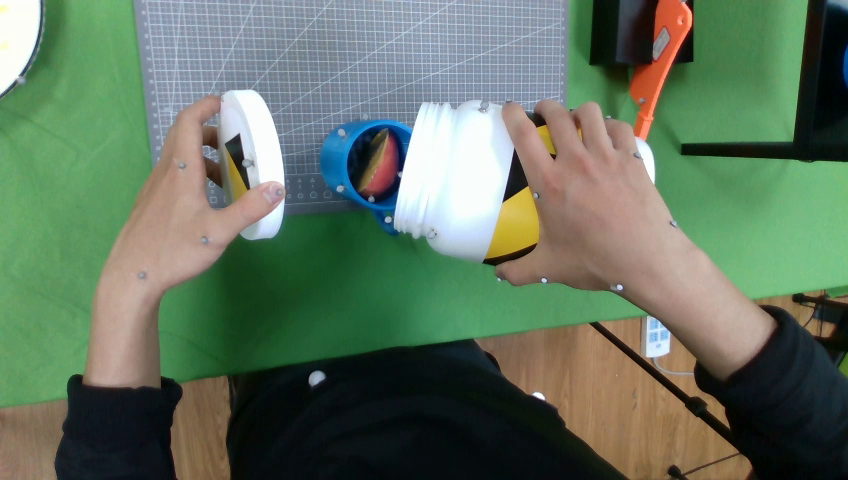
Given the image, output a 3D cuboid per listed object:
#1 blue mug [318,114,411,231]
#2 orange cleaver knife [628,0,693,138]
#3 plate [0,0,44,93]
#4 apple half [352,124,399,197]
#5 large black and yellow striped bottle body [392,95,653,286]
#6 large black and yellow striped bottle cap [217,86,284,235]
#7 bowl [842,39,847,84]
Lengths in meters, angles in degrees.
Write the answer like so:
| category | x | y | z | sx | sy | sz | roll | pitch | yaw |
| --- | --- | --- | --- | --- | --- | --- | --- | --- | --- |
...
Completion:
| category | x | y | z | sx | sy | sz | roll | pitch | yaw |
| --- | --- | --- | --- | --- | --- | --- | --- | --- | --- |
| blue mug | -0.048 | -0.064 | 0.594 | 0.082 | 0.105 | 0.117 | -21 | 107 | -16 |
| orange cleaver knife | 0.260 | -0.185 | 0.707 | 0.012 | 0.076 | 0.213 | -2 | 128 | -12 |
| plate | -0.409 | -0.198 | 0.464 | 0.210 | 0.038 | 0.210 | -4 | 103 | -20 |
| apple half | -0.041 | -0.073 | 0.589 | 0.033 | 0.081 | 0.081 | 28 | 90 | -15 |
| large black and yellow striped bottle body | 0.075 | -0.043 | 0.496 | 0.184 | 0.130 | 0.131 | 13 | 96 | 0 |
| large black and yellow striped bottle cap | -0.137 | -0.060 | 0.470 | 0.019 | 0.114 | 0.115 | -10 | 104 | -31 |
| bowl | 0.479 | -0.186 | 0.601 | 0.152 | 0.076 | 0.152 | -4 | 102 | -20 |
